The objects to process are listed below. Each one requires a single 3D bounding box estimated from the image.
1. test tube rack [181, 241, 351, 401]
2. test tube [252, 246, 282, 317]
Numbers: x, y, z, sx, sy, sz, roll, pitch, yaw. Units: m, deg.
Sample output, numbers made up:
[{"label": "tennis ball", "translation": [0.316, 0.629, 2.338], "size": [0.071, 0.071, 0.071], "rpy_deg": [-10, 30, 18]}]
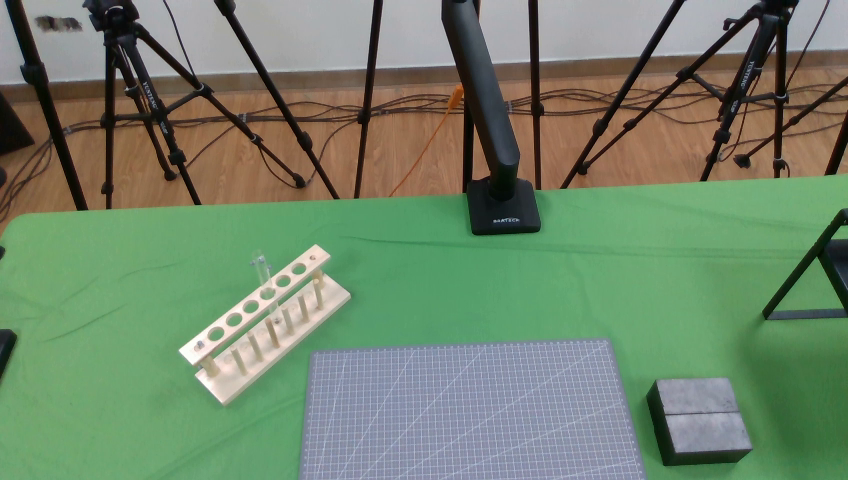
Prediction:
[{"label": "test tube rack", "translation": [-0.221, 0.114, 0.887], "size": [0.066, 0.086, 0.242], "rpy_deg": [35, 60, 25]}, {"label": "test tube", "translation": [-0.222, 0.062, 0.865], "size": [0.017, 0.151, 0.017], "rpy_deg": [0, 48, 0]}]
